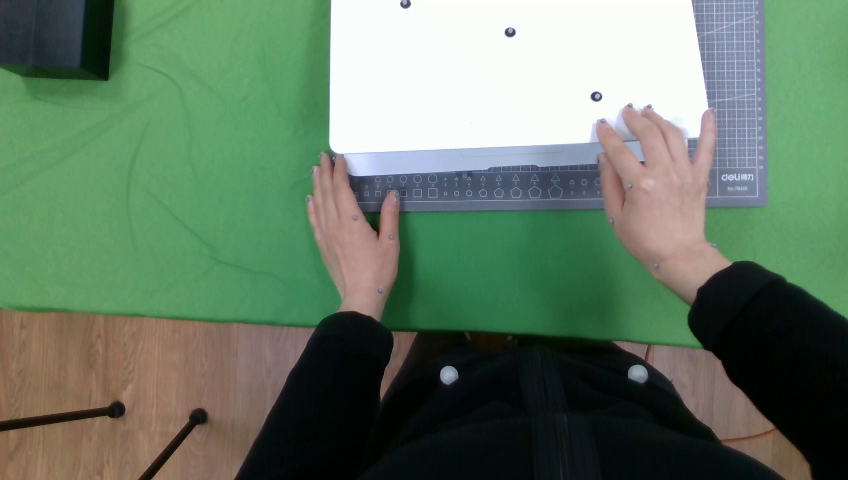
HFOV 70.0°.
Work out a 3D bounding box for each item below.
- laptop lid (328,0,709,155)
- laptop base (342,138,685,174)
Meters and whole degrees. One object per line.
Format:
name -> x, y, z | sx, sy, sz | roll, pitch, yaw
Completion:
laptop lid -> 0.082, -0.199, 0.584 | 0.357, 0.013, 0.240 | -1, 76, 3
laptop base -> 0.085, -0.194, 0.628 | 0.354, 0.023, 0.235 | -3, 93, 2
